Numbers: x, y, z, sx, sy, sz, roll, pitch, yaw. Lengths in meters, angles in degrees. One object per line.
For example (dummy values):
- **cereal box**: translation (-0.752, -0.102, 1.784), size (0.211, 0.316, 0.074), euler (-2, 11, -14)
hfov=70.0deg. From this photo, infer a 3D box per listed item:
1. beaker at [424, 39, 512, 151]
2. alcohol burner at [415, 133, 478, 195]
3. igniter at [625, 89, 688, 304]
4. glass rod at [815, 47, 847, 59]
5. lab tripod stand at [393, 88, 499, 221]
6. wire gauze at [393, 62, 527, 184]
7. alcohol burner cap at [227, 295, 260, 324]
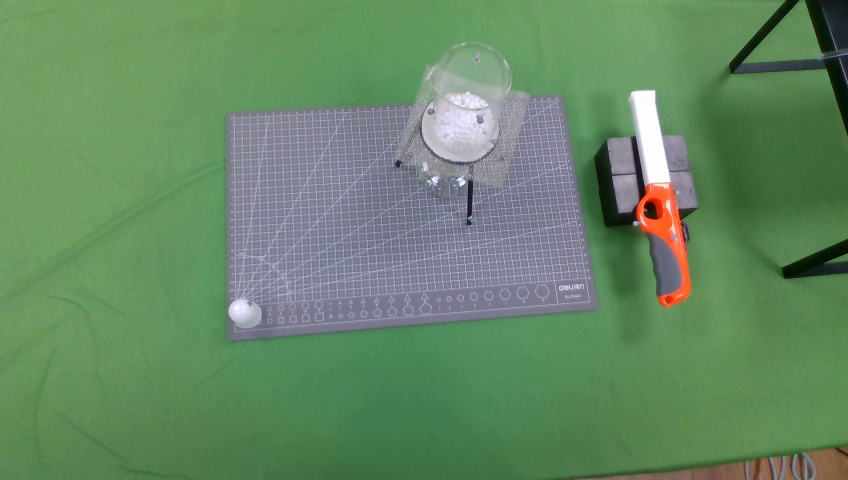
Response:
- **beaker**: translation (0.041, -0.141, 0.615), size (0.084, 0.101, 0.073), euler (-4, 72, -3)
- **alcohol burner**: translation (0.028, -0.100, 0.731), size (0.078, 0.119, 0.077), euler (1, 75, -2)
- **igniter**: translation (0.280, -0.058, 0.734), size (0.057, 0.025, 0.275), euler (-3, 73, -1)
- **glass rod**: translation (0.521, -0.220, 0.665), size (0.200, 0.008, 0.008), euler (-12, 75, -7)
- **lab tripod stand**: translation (0.036, -0.112, 0.725), size (0.148, 0.132, 0.147), euler (1, 72, -3)
- **wire gauze**: translation (0.042, -0.128, 0.662), size (0.121, 0.011, 0.124), euler (18, 70, 0)
- **alcohol burner cap**: translation (-0.212, 0.079, 0.703), size (0.034, 0.048, 0.033), euler (1, 73, -4)
